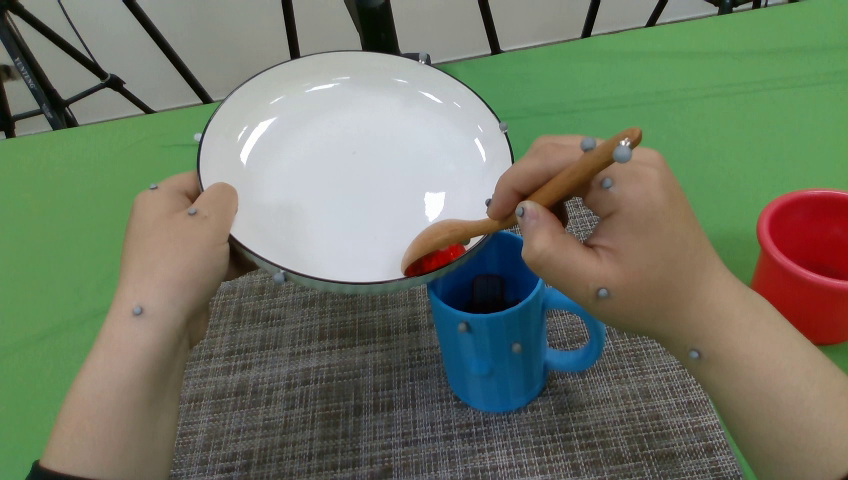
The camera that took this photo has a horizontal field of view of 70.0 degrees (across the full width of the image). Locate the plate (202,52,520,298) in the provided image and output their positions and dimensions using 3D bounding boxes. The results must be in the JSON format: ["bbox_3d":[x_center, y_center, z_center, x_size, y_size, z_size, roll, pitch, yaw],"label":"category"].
[{"bbox_3d":[-0.040,-0.047,0.415,0.208,0.039,0.205,3,55,-4],"label":"plate"}]

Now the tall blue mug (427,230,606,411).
[{"bbox_3d":[0.062,0.054,0.418,0.107,0.109,0.077,-14,43,-2],"label":"tall blue mug"}]

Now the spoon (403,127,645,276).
[{"bbox_3d":[0.037,-0.012,0.297,0.041,0.022,0.193,-37,6,-31],"label":"spoon"}]
